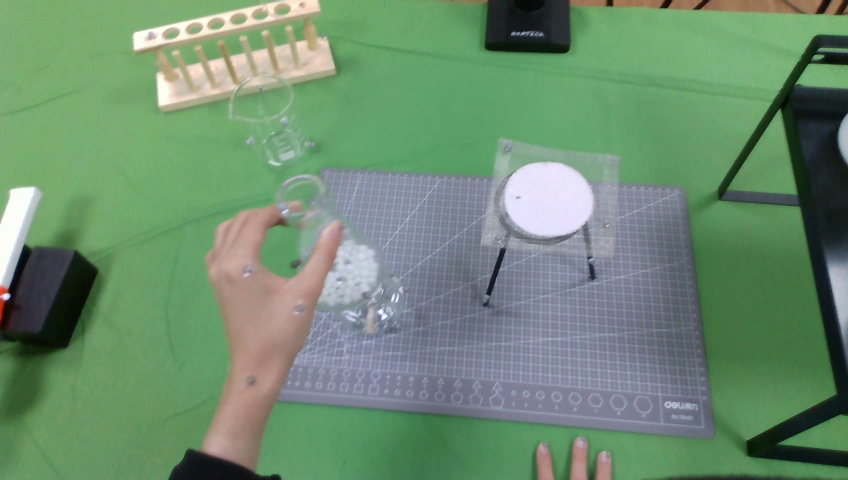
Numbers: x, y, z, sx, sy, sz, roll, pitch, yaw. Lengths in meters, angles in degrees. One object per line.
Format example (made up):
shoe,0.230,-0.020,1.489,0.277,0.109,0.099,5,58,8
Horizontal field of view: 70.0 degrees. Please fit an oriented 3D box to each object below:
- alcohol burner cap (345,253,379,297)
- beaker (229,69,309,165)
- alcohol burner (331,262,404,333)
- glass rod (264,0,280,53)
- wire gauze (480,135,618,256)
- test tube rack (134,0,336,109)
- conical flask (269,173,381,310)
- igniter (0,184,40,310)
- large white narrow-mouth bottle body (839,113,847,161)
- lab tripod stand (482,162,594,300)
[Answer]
alcohol burner cap,-0.062,0.031,0.594,0.034,0.048,0.033,1,56,-1
beaker,-0.188,-0.146,0.748,0.084,0.101,0.073,-34,65,-14
alcohol burner,-0.060,0.051,0.625,0.078,0.120,0.077,0,60,0
glass rod,-0.202,-0.315,0.772,0.008,0.201,0.008,1,60,-2
wire gauze,0.122,-0.044,0.579,0.121,0.011,0.124,9,63,6
test tube rack,-0.250,-0.255,0.818,0.242,0.086,0.066,-14,62,-5
conical flask,-0.081,-0.002,0.471,0.075,0.123,0.074,-4,59,7
igniter,-0.462,0.059,0.639,0.057,0.025,0.274,-5,61,6
large white narrow-mouth bottle body,0.410,-0.125,0.450,0.102,0.196,0.101,-1,60,2
lab tripod stand,0.118,-0.009,0.637,0.148,0.132,0.147,0,60,1
